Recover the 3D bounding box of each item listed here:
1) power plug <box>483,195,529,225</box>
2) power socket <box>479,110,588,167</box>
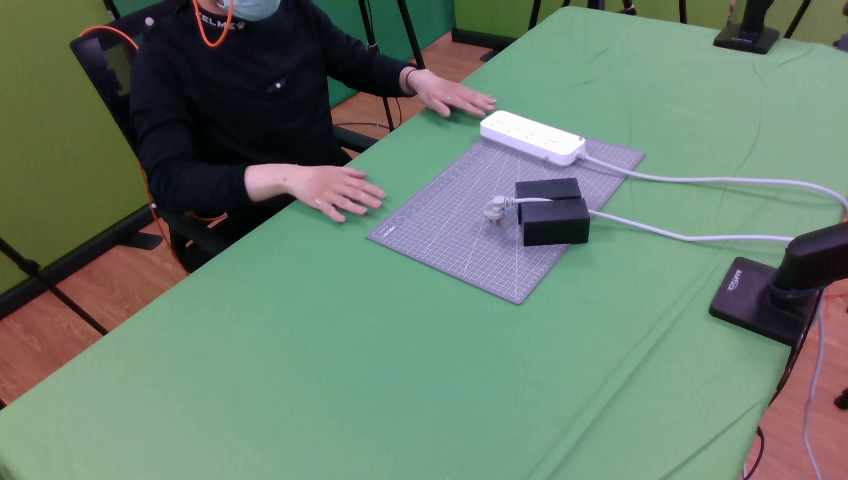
[{"bbox_3d":[0.129,-0.044,0.969,0.072,0.053,0.035,14,49,26],"label":"power plug"},{"bbox_3d":[0.203,-0.198,1.157,0.225,0.033,0.072,29,54,34],"label":"power socket"}]
